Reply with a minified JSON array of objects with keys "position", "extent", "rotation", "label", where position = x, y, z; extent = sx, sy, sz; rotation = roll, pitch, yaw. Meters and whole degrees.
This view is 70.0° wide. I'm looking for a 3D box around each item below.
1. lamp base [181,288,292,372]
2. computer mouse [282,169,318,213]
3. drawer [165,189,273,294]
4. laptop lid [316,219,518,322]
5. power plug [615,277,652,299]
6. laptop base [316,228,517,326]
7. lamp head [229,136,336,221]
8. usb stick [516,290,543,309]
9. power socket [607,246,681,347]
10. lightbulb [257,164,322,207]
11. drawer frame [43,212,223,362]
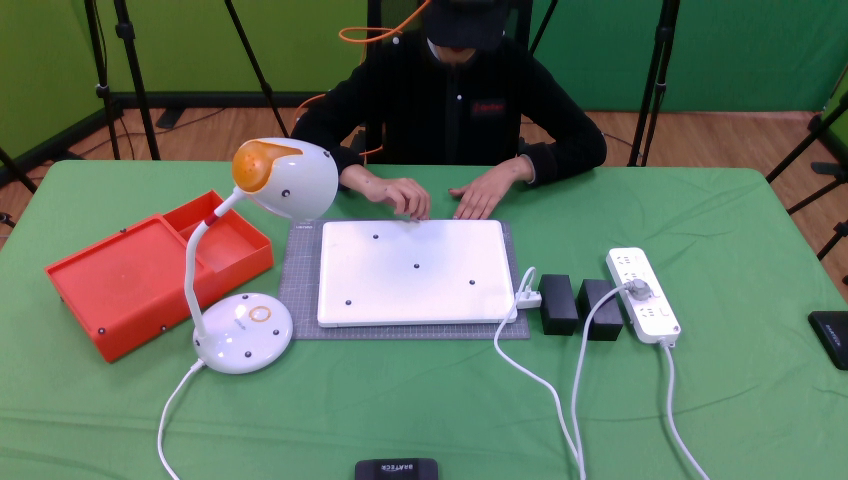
[{"position":[-0.309,0.108,0.959],"extent":[0.160,0.181,0.179],"rotation":[29,55,22],"label":"lamp base"},{"position":[-0.259,-0.106,1.272],"extent":[0.063,0.041,0.116],"rotation":[3,50,-3],"label":"computer mouse"},{"position":[-0.419,0.021,1.108],"extent":[0.193,0.073,0.211],"rotation":[37,55,27],"label":"drawer"},{"position":[-0.015,0.049,1.117],"extent":[0.357,0.013,0.240],"rotation":[1,50,-4],"label":"laptop lid"},{"position":[0.375,0.088,1.096],"extent":[0.072,0.053,0.035],"rotation":[6,46,2],"label":"power plug"},{"position":[-0.017,0.065,1.131],"extent":[0.355,0.023,0.234],"rotation":[-1,44,-5],"label":"laptop base"},{"position":[-0.196,-0.085,0.791],"extent":[0.112,0.112,0.123],"rotation":[35,14,27],"label":"lamp head"},{"position":[0.181,0.108,1.088],"extent":[0.059,0.027,0.021],"rotation":[-7,47,-5],"label":"usb stick"},{"position":[0.403,0.096,1.123],"extent":[0.072,0.033,0.225],"rotation":[-3,47,-5],"label":"power socket"},{"position":[-0.181,-0.077,0.810],"extent":[0.059,0.059,0.108],"rotation":[36,11,28],"label":"lightbulb"},{"position":[-0.497,0.073,1.049],"extent":[0.213,0.083,0.200],"rotation":[-34,57,-31],"label":"drawer frame"}]
